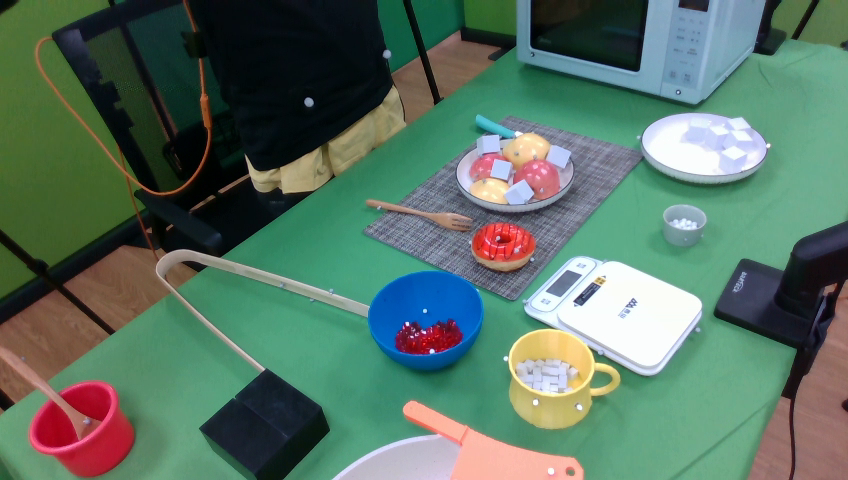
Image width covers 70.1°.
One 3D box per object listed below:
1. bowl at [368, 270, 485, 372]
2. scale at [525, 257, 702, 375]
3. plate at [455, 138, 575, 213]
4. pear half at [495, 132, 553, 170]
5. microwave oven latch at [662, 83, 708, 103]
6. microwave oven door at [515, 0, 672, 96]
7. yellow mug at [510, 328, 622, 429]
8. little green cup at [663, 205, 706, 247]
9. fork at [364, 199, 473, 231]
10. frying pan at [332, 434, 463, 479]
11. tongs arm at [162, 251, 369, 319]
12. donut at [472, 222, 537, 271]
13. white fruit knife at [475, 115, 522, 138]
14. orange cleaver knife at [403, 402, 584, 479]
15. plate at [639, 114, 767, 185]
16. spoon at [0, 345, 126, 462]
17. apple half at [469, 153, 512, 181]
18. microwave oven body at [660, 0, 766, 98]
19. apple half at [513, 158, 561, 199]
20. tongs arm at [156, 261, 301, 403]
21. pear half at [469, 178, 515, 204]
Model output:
[{"bbox_3d":[0.007,0.119,0.791,0.151,0.077,0.150,-5,40,4],"label":"bowl"},{"bbox_3d":[0.254,0.091,0.821,0.199,0.032,0.149,28,51,35],"label":"scale"},{"bbox_3d":[0.159,-0.111,1.063,0.209,0.038,0.208,-4,40,4],"label":"plate"},{"bbox_3d":[0.174,-0.167,1.094,0.109,0.056,0.076,15,53,30],"label":"pear half"},{"bbox_3d":[0.518,-0.296,1.204,0.078,0.029,0.030,27,52,35],"label":"microwave oven latch"},{"bbox_3d":[0.343,-0.454,1.259,0.353,0.245,0.039,26,51,33],"label":"microwave oven door"},{"bbox_3d":[0.168,0.164,0.721,0.130,0.064,0.099,0,40,8],"label":"yellow mug"},{"bbox_3d":[0.396,-0.020,0.926,0.061,0.039,0.061,-4,40,4],"label":"little green cup"},{"bbox_3d":[-0.014,-0.046,1.027,0.206,0.028,0.019,14,19,27],"label":"fork"},{"bbox_3d":[-0.089,0.306,0.564,0.487,0.103,0.306,10,41,7],"label":"frying pan"},{"bbox_3d":[-0.247,0.073,0.917,0.382,0.026,0.051,16,50,26],"label":"tongs arm"},{"bbox_3d":[0.123,0.008,0.923,0.099,0.048,0.098,-3,38,3],"label":"donut"},{"bbox_3d":[0.177,-0.207,1.190,0.205,0.016,0.027,31,65,35],"label":"white fruit knife"},{"bbox_3d":[0.062,0.222,0.609,0.210,0.012,0.077,15,48,25],"label":"orange cleaver knife"},{"bbox_3d":[0.489,-0.157,1.074,0.207,0.039,0.206,-4,40,4],"label":"plate"},{"bbox_3d":[-0.434,0.192,0.720,0.194,0.021,0.042,47,55,-7],"label":"spoon"},{"bbox_3d":[0.119,-0.138,1.088,0.081,0.033,0.081,-1,44,2],"label":"apple half"},{"bbox_3d":[0.472,-0.513,1.317,0.438,0.261,0.327,26,51,34],"label":"microwave oven body"},{"bbox_3d":[0.193,-0.111,1.031,0.080,0.053,0.075,11,41,26],"label":"apple half"},{"bbox_3d":[-0.294,0.123,0.870,0.384,0.028,0.028,28,60,35],"label":"tongs arm"},{"bbox_3d":[0.115,-0.090,1.036,0.087,0.031,0.071,28,38,32],"label":"pear half"}]
